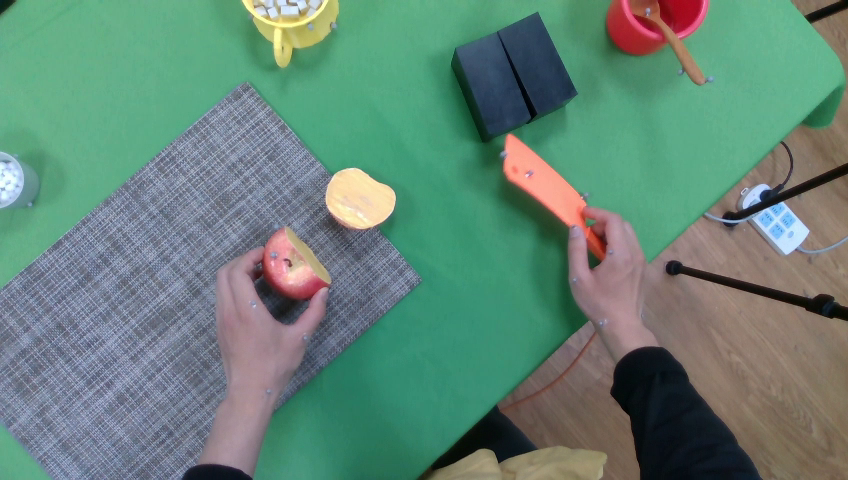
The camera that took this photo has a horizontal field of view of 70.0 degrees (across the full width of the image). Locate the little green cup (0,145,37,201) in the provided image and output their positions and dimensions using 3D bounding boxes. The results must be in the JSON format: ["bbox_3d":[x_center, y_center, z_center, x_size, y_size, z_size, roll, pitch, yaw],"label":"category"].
[{"bbox_3d":[-0.455,-0.070,0.654,0.061,0.038,0.061,0,89,-3],"label":"little green cup"}]

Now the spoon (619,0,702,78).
[{"bbox_3d":[0.252,-0.230,0.646,0.042,0.191,0.022,-4,135,-4],"label":"spoon"}]

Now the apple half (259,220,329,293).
[{"bbox_3d":[-0.146,0.024,0.651,0.053,0.074,0.081,-38,95,1],"label":"apple half"}]

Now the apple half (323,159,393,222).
[{"bbox_3d":[-0.078,-0.047,0.673,0.081,0.033,0.080,9,58,-14],"label":"apple half"}]

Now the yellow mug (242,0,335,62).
[{"bbox_3d":[-0.151,-0.261,0.660,0.100,0.064,0.131,7,90,-4],"label":"yellow mug"}]

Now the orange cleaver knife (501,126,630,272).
[{"bbox_3d":[0.161,-0.046,0.681,0.212,0.012,0.076,40,45,-15],"label":"orange cleaver knife"}]
